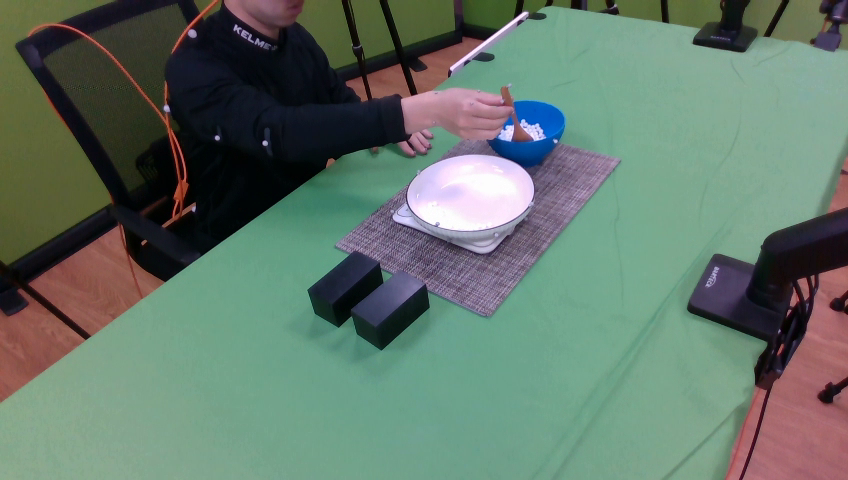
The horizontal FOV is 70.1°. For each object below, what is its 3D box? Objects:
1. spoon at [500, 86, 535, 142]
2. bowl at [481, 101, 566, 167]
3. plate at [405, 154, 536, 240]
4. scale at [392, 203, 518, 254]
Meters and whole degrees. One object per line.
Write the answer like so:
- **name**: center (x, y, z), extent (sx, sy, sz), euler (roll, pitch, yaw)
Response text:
- **spoon**: center (0.150, -0.200, 0.999), extent (0.041, 0.195, 0.021), euler (-9, 65, 18)
- **bowl**: center (0.183, -0.186, 1.111), extent (0.151, 0.077, 0.150), euler (-4, 40, 4)
- **plate**: center (0.075, -0.067, 0.973), extent (0.209, 0.038, 0.208), euler (-4, 41, 4)
- **scale**: center (0.061, -0.051, 1.006), extent (0.199, 0.032, 0.149), euler (22, 48, 30)
